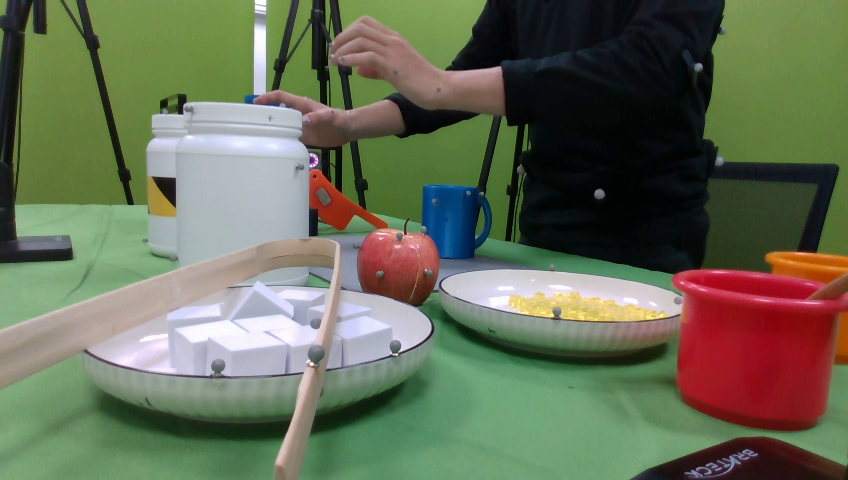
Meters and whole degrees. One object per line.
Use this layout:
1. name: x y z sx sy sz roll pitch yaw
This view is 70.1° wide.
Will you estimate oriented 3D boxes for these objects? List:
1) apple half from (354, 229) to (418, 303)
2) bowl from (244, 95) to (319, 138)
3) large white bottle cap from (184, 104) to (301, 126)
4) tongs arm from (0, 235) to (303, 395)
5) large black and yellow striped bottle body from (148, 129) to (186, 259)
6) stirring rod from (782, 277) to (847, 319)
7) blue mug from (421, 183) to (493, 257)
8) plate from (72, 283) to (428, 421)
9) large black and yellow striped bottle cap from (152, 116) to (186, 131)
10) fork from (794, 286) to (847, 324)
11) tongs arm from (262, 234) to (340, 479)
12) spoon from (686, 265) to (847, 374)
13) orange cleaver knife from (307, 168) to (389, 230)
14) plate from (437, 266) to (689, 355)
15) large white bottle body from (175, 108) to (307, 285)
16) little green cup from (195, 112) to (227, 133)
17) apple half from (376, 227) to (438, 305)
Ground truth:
1. apple half: -0.044 0.027 0.564 0.081 0.081 0.033 9 5 42
2. bowl: -0.293 -0.251 1.249 0.151 0.077 0.151 2 7 0
3. large white bottle cap: -0.184 -0.126 0.618 0.115 0.018 0.115 2 8 0
4. tongs arm: -0.157 0.038 0.351 0.028 0.028 0.388 -3 9 12
5. large black and yellow striped bottle body: -0.310 -0.072 0.838 0.131 0.184 0.130 2 8 0
6. stirring rod: 0.344 0.019 0.460 0.014 0.006 0.176 -13 -27 -30
7. blue mug: 0.052 -0.032 0.912 0.117 0.106 0.082 -1 8 -24
8. plate: -0.102 0.066 0.381 0.208 0.039 0.207 3 7 0
9. large black and yellow striped bottle cap: -0.309 -0.155 0.826 0.115 0.019 0.115 3 6 0
10. fork: 0.332 0.018 0.442 0.028 0.018 0.207 -1 -36 -16
11. tongs arm: -0.074 0.039 0.349 0.051 0.026 0.384 -2 10 -3
12. spoon: 0.214 0.032 0.328 0.042 0.021 0.193 -3 -35 -26
13. orange cleaver knife: -0.158 -0.060 1.166 0.212 0.077 0.012 34 -12 -32
14. plate: 0.114 0.057 0.517 0.209 0.038 0.209 3 7 0
15. large white bottle body: -0.188 -0.042 0.630 0.131 0.184 0.130 2 8 0
16. little green cup: -0.412 -0.227 1.171 0.061 0.038 0.061 3 8 0
17. apple half: -0.017 0.025 0.593 0.080 0.074 0.053 5 2 43
